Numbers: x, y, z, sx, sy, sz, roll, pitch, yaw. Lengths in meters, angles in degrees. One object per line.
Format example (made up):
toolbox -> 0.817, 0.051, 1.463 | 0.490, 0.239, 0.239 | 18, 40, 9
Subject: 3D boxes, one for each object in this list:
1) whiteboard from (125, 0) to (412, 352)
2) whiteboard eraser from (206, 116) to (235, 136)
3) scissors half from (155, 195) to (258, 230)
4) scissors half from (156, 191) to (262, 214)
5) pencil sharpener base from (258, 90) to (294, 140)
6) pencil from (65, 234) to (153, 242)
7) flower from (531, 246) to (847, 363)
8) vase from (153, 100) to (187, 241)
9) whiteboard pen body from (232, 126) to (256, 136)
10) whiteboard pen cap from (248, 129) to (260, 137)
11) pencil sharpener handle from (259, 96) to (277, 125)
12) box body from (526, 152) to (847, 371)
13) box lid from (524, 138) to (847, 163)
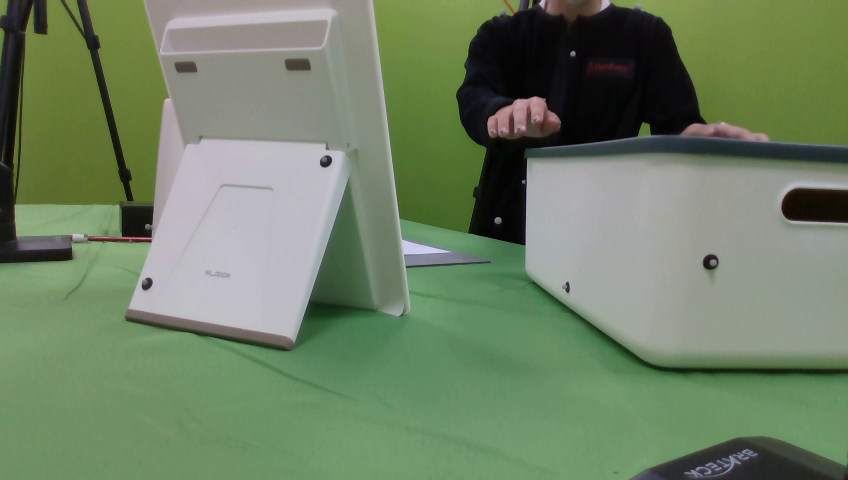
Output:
whiteboard -> -0.151, -0.049, 0.471 | 0.216, 0.305, 0.144 | 6, 27, 24
whiteboard eraser -> -0.449, -0.251, 1.335 | 0.056, 0.042, 0.112 | 1, 7, -22
scissors half -> -0.378, -0.051, 1.058 | 0.176, 0.040, 0.012 | 20, 22, -31
scissors half -> -0.371, -0.068, 1.051 | 0.176, 0.040, 0.013 | 2, 25, -24
pencil sharpener base -> -0.341, -0.285, 1.388 | 0.062, 0.107, 0.076 | -3, 9, -36
pencil -> -0.429, -0.001, 0.911 | 0.195, 0.012, 0.012 | 1, 8, -19
flower -> 0.250, 0.063, 0.602 | 0.359, 0.038, 0.044 | 20, -13, 49
vase -> -0.278, -0.066, 0.736 | 0.098, 0.200, 0.098 | 2, 9, 0
whiteboard pen body -> -0.407, -0.247, 1.372 | 0.017, 0.017, 0.140 | -3, 13, -35
whiteboard pen cap -> -0.373, -0.235, 1.326 | 0.018, 0.018, 0.033 | -3, 12, -35
pencil sharpener handle -> -0.373, -0.304, 1.425 | 0.036, 0.067, 0.030 | 14, -1, -37
box body -> 0.259, -0.004, 0.584 | 0.255, 0.160, 0.363 | 2, 7, -6
box lid -> 0.262, -0.076, 0.573 | 0.264, 0.015, 0.371 | 2, 7, -6
